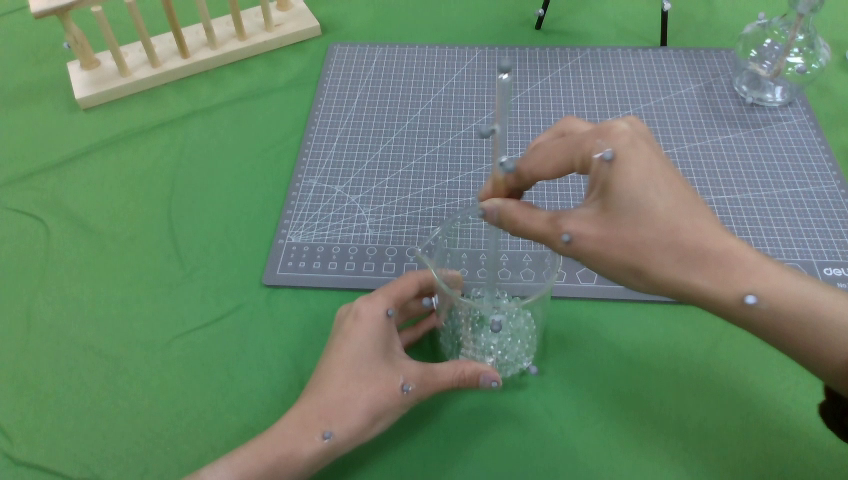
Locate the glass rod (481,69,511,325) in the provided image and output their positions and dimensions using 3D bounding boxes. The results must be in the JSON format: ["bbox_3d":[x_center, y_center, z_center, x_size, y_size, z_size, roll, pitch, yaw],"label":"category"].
[{"bbox_3d":[0.038,-0.008,0.335,0.008,0.201,0.008,-1,50,2],"label":"glass rod"}]

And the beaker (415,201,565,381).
[{"bbox_3d":[0.038,0.036,0.374,0.084,0.101,0.073,5,52,7],"label":"beaker"}]

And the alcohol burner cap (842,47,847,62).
[{"bbox_3d":[0.423,-0.192,0.570,0.034,0.048,0.033,-1,51,1],"label":"alcohol burner cap"}]

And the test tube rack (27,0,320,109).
[{"bbox_3d":[-0.232,-0.217,0.587,0.242,0.086,0.066,-23,55,-15],"label":"test tube rack"}]

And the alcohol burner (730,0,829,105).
[{"bbox_3d":[0.308,-0.175,0.513,0.078,0.120,0.077,-1,54,1],"label":"alcohol burner"}]

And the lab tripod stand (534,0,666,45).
[{"bbox_3d":[0.186,-0.274,0.586,0.148,0.132,0.147,0,52,0],"label":"lab tripod stand"}]
